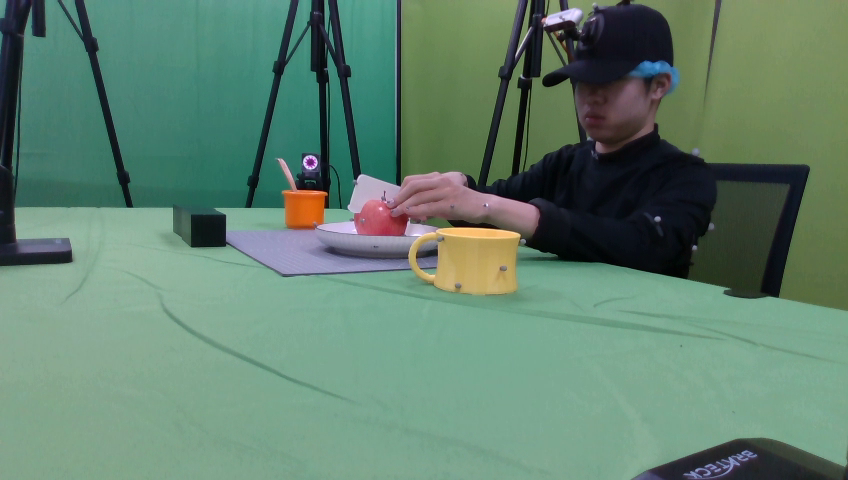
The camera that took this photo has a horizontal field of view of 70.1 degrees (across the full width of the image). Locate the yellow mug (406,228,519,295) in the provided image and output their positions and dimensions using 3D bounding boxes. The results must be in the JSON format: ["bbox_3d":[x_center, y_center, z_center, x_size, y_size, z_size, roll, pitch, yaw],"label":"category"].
[{"bbox_3d":[0.044,0.022,0.707,0.131,0.064,0.100,2,7,5],"label":"yellow mug"}]

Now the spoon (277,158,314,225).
[{"bbox_3d":[-0.272,-0.103,1.260,0.042,0.193,0.021,-4,-34,-34],"label":"spoon"}]

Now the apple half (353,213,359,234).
[{"bbox_3d":[-0.090,-0.029,0.931,0.032,0.081,0.081,12,11,30],"label":"apple half"}]

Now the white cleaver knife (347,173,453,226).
[{"bbox_3d":[-0.034,-0.058,0.985,0.021,0.066,0.288,18,5,32],"label":"white cleaver knife"}]

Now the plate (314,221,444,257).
[{"bbox_3d":[-0.066,-0.002,0.948,0.209,0.038,0.209,3,7,0],"label":"plate"}]

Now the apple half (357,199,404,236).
[{"bbox_3d":[-0.059,-0.023,0.914,0.053,0.074,0.081,16,7,25],"label":"apple half"}]
